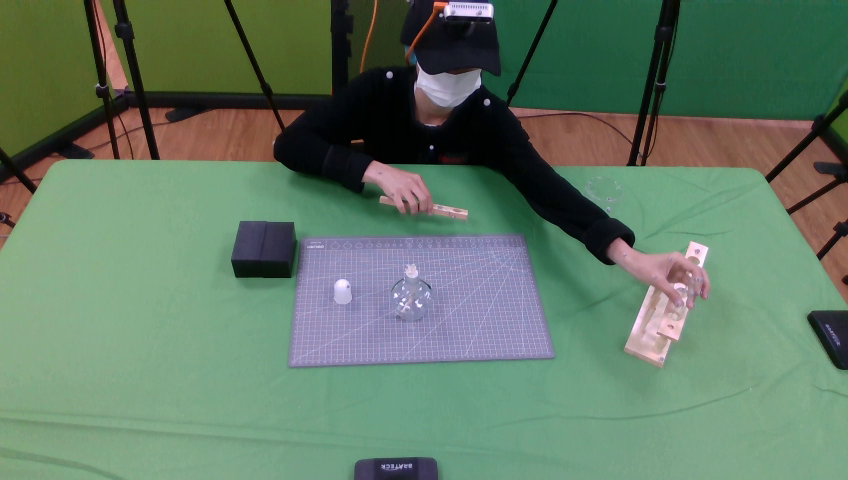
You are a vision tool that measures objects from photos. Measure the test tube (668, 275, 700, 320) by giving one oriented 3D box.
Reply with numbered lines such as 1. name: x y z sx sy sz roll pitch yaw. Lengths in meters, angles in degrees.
1. test tube: 0.417 0.112 0.991 0.017 0.151 0.017 2 45 -2

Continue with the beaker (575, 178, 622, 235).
1. beaker: 0.356 -0.068 1.239 0.084 0.101 0.073 -18 50 -22

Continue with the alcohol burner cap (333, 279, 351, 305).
1. alcohol burner cap: -0.148 0.090 1.083 0.034 0.048 0.033 3 46 -3

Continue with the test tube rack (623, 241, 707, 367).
1. test tube rack: 0.435 0.104 1.089 0.066 0.085 0.242 24 49 19

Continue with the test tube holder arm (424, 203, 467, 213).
1. test tube holder arm: 0.042 -0.059 1.216 0.088 0.015 0.010 10 37 0

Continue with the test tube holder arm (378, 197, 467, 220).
1. test tube holder arm: -0.003 -0.064 1.212 0.178 0.015 0.013 10 37 0

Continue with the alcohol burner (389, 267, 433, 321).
1. alcohol burner: -0.022 0.086 1.046 0.078 0.119 0.077 2 48 -2
